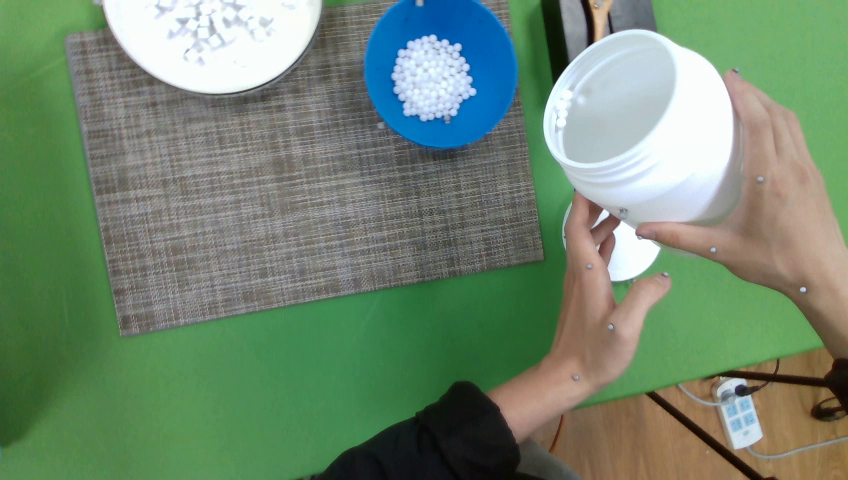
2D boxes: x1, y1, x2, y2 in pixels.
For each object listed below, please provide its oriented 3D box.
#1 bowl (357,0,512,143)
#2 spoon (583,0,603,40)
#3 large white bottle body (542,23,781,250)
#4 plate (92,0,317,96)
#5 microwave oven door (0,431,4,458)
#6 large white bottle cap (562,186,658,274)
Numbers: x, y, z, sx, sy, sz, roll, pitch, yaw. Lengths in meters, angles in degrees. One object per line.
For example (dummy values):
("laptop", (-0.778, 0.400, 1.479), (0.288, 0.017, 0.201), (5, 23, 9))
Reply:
("bowl", (0.006, -0.168, 0.615), (0.152, 0.076, 0.151), (0, 92, -9))
("spoon", (0.172, -0.209, 0.628), (0.042, 0.021, 0.194), (2, 96, -13))
("large white bottle body", (0.191, -0.078, 0.489), (0.186, 0.129, 0.130), (23, 87, -41))
("plate", (-0.211, -0.242, 0.598), (0.209, 0.038, 0.209), (0, 88, -9))
("microwave oven door", (-0.435, 0.038, 0.450), (0.039, 0.243, 0.356), (-13, 93, -9))
("large white bottle cap", (0.213, -0.018, 0.687), (0.115, 0.018, 0.115), (0, 92, -10))
